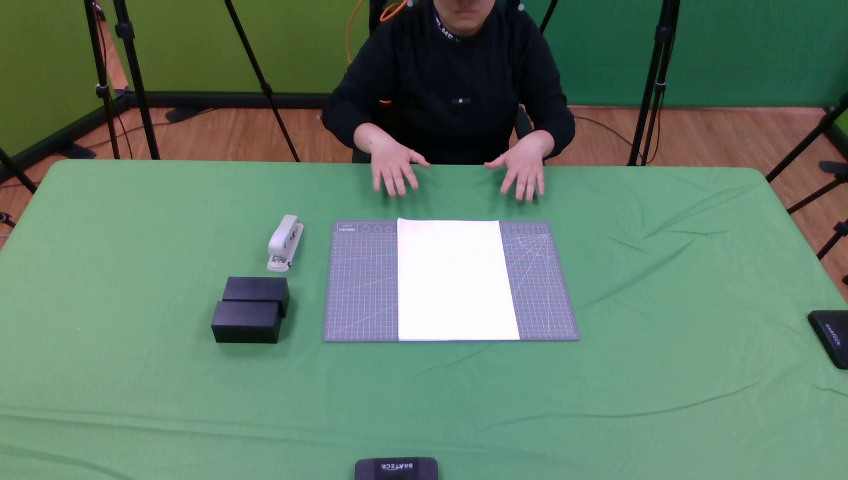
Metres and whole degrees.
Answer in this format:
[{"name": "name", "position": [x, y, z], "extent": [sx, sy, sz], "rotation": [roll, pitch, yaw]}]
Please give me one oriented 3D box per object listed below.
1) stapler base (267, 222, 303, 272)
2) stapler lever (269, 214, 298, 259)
[{"name": "stapler base", "position": [-0.269, 0.005, 1.170], "extent": [0.041, 0.024, 0.130], "rotation": [8, 44, 0]}, {"name": "stapler lever", "position": [-0.268, -0.014, 1.153], "extent": [0.027, 0.040, 0.117], "rotation": [8, 44, 0]}]
